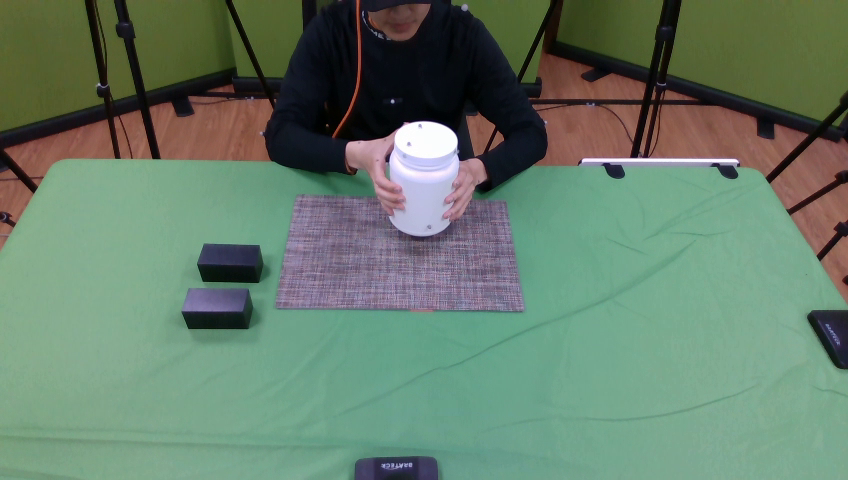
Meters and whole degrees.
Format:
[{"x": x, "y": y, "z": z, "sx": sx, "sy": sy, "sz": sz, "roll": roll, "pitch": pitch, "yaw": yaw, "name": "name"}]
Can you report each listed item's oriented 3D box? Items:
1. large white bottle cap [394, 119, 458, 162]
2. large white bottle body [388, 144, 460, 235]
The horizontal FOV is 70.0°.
[{"x": 0.004, "y": -0.180, "z": 1.089, "sx": 0.115, "sy": 0.018, "sz": 0.114, "roll": 3, "pitch": 44, "yaw": -3, "name": "large white bottle cap"}, {"x": -0.002, "y": -0.116, "z": 1.150, "sx": 0.131, "sy": 0.185, "sz": 0.130, "roll": 3, "pitch": 44, "yaw": -3, "name": "large white bottle body"}]
